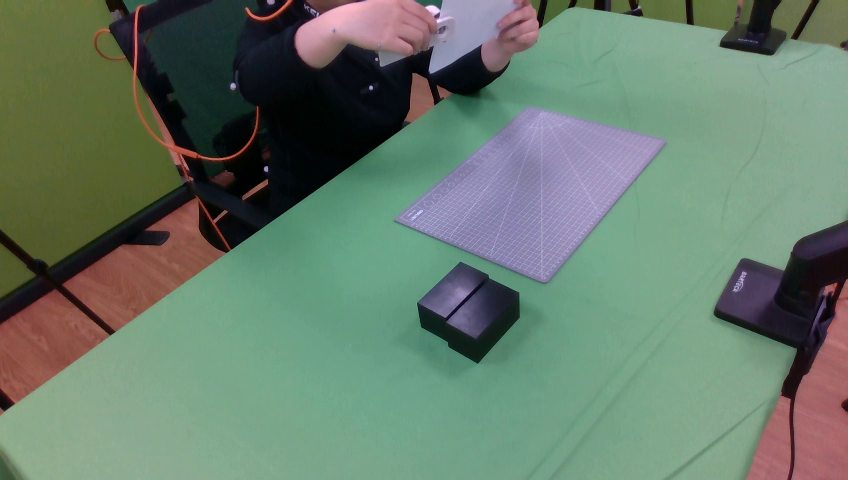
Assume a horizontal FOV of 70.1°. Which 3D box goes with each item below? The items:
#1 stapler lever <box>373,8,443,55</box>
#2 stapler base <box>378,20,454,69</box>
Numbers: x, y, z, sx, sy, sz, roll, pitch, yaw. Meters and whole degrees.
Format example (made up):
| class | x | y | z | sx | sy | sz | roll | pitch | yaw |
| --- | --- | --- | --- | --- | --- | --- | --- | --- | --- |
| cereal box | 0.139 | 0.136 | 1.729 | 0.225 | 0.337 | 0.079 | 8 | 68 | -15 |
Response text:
| class | x | y | z | sx | sy | sz | roll | pitch | yaw |
| --- | --- | --- | --- | --- | --- | --- | --- | --- | --- |
| stapler lever | -0.025 | -0.316 | 0.914 | 0.118 | 0.027 | 0.040 | -22 | 70 | -11 |
| stapler base | -0.016 | -0.301 | 0.909 | 0.131 | 0.041 | 0.024 | -28 | 71 | -13 |
